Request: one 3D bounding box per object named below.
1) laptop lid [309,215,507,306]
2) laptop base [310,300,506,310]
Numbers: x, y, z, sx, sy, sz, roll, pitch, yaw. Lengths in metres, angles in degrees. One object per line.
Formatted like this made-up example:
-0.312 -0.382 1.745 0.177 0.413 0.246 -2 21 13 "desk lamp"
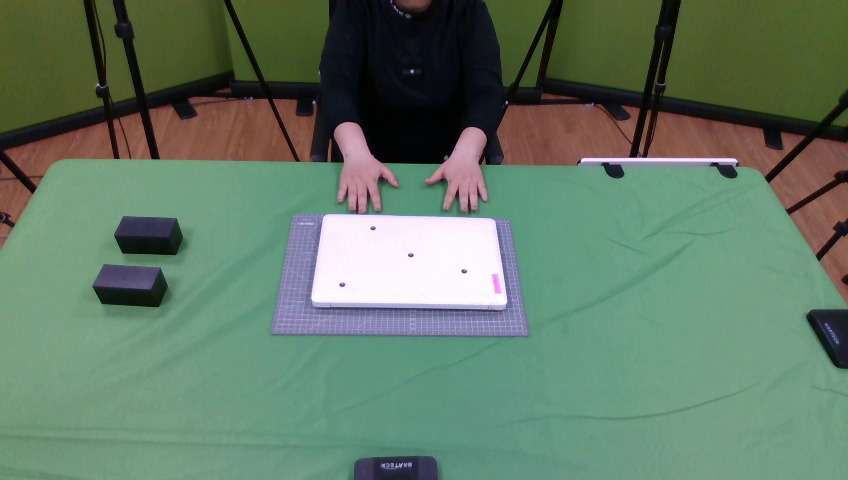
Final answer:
-0.028 0.032 1.149 0.357 0.013 0.240 3 44 -2 "laptop lid"
-0.029 0.043 1.156 0.354 0.023 0.234 1 42 -3 "laptop base"
